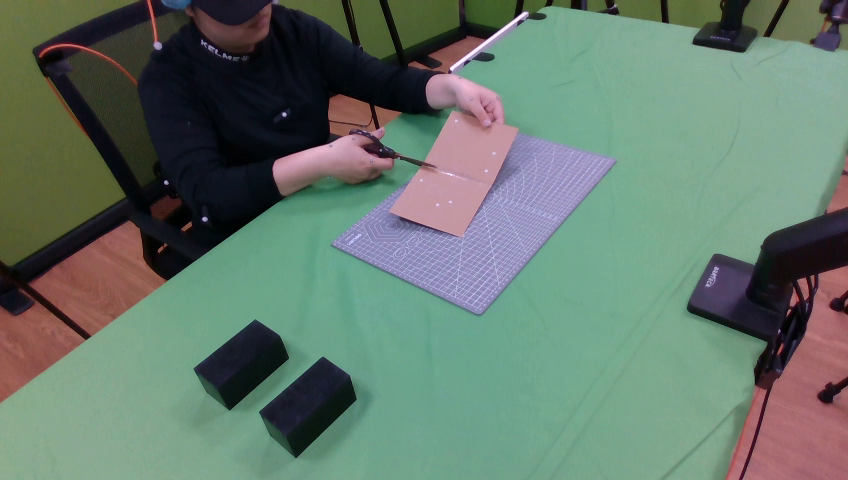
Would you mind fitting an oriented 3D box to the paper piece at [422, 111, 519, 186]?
[{"bbox_3d":[0.085,-0.169,1.100,0.135,0.009,0.138,22,65,12],"label":"paper piece"}]

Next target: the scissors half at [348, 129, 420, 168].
[{"bbox_3d":[-0.056,-0.158,1.092,0.175,0.040,0.013,26,66,-3],"label":"scissors half"}]

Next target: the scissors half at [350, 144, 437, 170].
[{"bbox_3d":[-0.056,-0.147,1.111,0.174,0.040,0.013,14,59,19],"label":"scissors half"}]

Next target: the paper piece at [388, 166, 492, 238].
[{"bbox_3d":[0.029,-0.070,1.032,0.135,0.004,0.135,20,52,16],"label":"paper piece"}]
